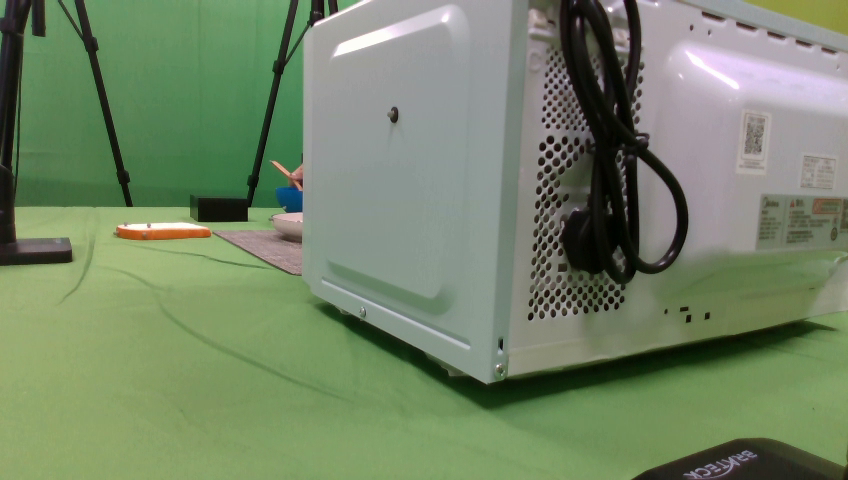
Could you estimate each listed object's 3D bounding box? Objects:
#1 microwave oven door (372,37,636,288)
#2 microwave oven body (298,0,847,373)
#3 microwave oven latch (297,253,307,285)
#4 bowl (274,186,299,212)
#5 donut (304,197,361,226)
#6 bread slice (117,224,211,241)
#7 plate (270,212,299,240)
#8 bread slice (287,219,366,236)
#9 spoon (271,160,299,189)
[{"bbox_3d":[0.109,-0.080,0.686,0.358,0.243,0.039,-2,9,-33],"label":"microwave oven door"},{"bbox_3d":[0.151,-0.055,0.542,0.444,0.260,0.324,-2,7,-33],"label":"microwave oven body"},{"bbox_3d":[-0.081,0.027,0.582,0.079,0.029,0.030,-1,7,-32],"label":"microwave oven latch"},{"bbox_3d":[-0.246,-0.075,1.308,0.151,0.077,0.151,1,8,0],"label":"bowl"},{"bbox_3d":[-0.160,-0.050,1.055,0.099,0.048,0.099,3,8,0],"label":"donut"},{"bbox_3d":[-0.443,-0.015,1.022,0.132,0.019,0.104,-4,8,-45],"label":"bread slice"},{"bbox_3d":[-0.162,-0.022,1.058,0.208,0.039,0.207,2,7,0],"label":"plate"},{"bbox_3d":[-0.170,-0.022,1.056,0.134,0.018,0.107,2,7,-6],"label":"bread slice"},{"bbox_3d":[-0.285,-0.124,1.339,0.042,0.021,0.193,-11,49,-45],"label":"spoon"}]
